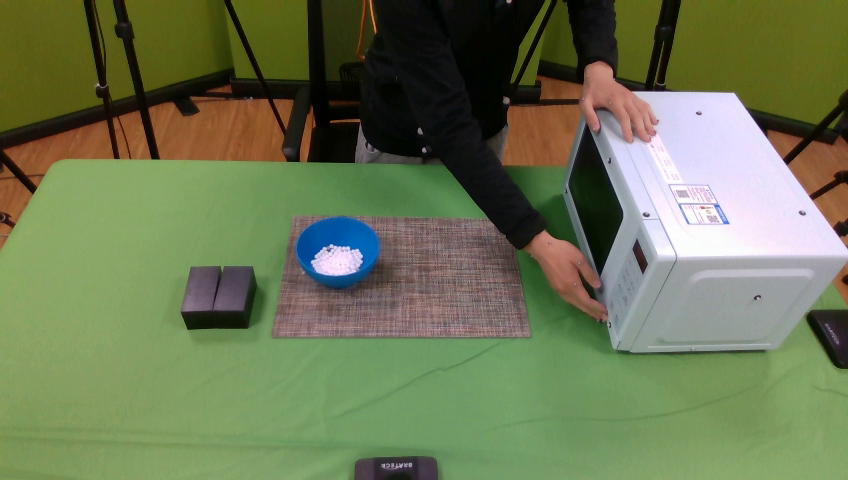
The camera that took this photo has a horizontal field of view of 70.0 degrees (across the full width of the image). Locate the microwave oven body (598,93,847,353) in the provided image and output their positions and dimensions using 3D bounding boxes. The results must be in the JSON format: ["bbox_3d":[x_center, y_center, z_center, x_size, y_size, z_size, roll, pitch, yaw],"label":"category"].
[{"bbox_3d":[0.476,-0.041,1.110,0.326,0.261,0.438,-1,45,-4],"label":"microwave oven body"}]

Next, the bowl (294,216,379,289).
[{"bbox_3d":[-0.158,0.036,1.110,0.151,0.077,0.150,3,45,-2],"label":"bowl"}]

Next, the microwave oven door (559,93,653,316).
[{"bbox_3d":[0.327,-0.074,1.123,0.039,0.245,0.353,-1,46,-5],"label":"microwave oven door"}]

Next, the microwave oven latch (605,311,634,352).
[{"bbox_3d":[0.334,0.153,1.044,0.030,0.029,0.078,2,45,-1],"label":"microwave oven latch"}]
